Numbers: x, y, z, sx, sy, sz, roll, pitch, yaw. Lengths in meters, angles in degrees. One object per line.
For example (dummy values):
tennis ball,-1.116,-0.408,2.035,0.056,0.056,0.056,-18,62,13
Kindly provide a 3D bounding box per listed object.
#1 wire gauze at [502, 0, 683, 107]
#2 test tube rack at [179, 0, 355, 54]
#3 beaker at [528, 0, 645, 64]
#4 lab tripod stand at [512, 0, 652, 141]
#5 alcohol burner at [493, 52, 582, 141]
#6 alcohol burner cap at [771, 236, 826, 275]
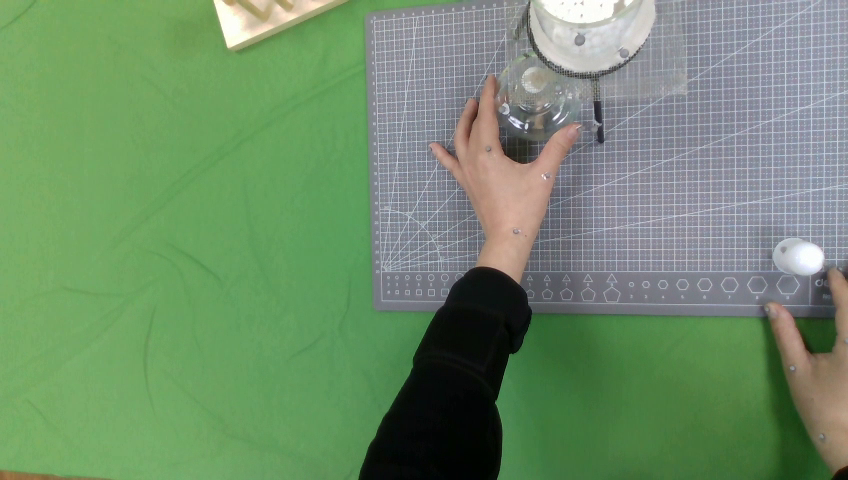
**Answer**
wire gauze,0.118,-0.159,0.432,0.125,0.011,0.121,-2,96,12
test tube rack,-0.112,-0.266,0.581,0.242,0.085,0.066,-18,87,14
beaker,0.101,-0.158,0.386,0.083,0.100,0.074,13,96,14
lab tripod stand,0.135,-0.160,0.495,0.148,0.131,0.148,1,94,13
alcohol burner,0.095,-0.126,0.517,0.078,0.119,0.078,0,92,13
alcohol burner cap,0.314,0.014,0.505,0.034,0.048,0.034,1,92,14
